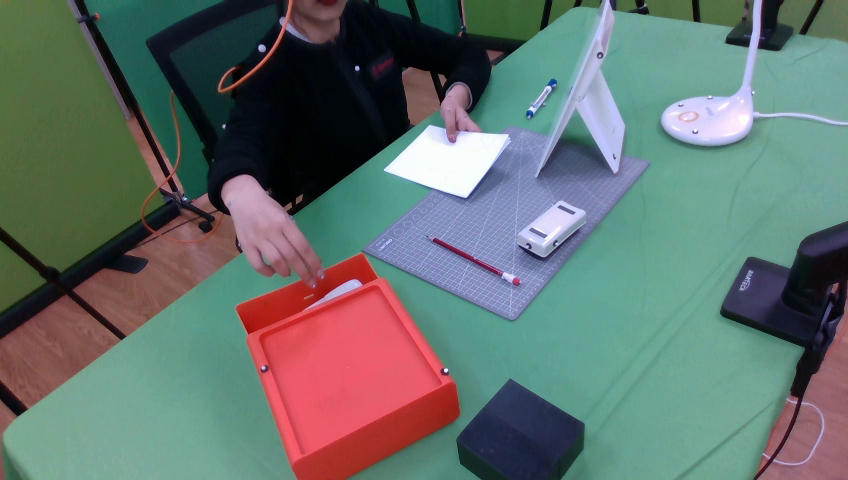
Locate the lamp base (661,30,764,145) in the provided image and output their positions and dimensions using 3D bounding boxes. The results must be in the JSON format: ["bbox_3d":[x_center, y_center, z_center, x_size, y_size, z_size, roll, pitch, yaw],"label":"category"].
[{"bbox_3d":[0.535,-0.287,1.096,0.179,0.181,0.159,-10,40,-4],"label":"lamp base"}]

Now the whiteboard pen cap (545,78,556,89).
[{"bbox_3d":[0.280,-0.344,1.335,0.018,0.018,0.033,15,45,26],"label":"whiteboard pen cap"}]

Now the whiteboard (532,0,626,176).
[{"bbox_3d":[0.321,-0.258,1.050,0.144,0.306,0.217,22,45,5],"label":"whiteboard"}]

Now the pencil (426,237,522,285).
[{"bbox_3d":[0.072,0.029,0.941,0.192,0.012,0.012,26,52,37],"label":"pencil"}]

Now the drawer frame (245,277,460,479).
[{"bbox_3d":[-0.093,0.167,0.755,0.202,0.083,0.211,-23,43,-17],"label":"drawer frame"}]

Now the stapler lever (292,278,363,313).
[{"bbox_3d":[-0.135,0.090,0.846,0.118,0.040,0.026,-21,39,-17],"label":"stapler lever"}]

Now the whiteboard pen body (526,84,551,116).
[{"bbox_3d":[0.251,-0.305,1.298,0.017,0.017,0.141,15,45,26],"label":"whiteboard pen body"}]

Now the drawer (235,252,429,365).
[{"bbox_3d":[-0.125,0.132,0.805,0.195,0.073,0.210,-23,42,-17],"label":"drawer"}]

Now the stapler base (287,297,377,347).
[{"bbox_3d":[-0.132,0.109,0.863,0.131,0.024,0.041,-20,39,-17],"label":"stapler base"}]

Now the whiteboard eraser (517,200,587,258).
[{"bbox_3d":[0.201,-0.016,0.943,0.113,0.042,0.055,-37,46,-29],"label":"whiteboard eraser"}]
